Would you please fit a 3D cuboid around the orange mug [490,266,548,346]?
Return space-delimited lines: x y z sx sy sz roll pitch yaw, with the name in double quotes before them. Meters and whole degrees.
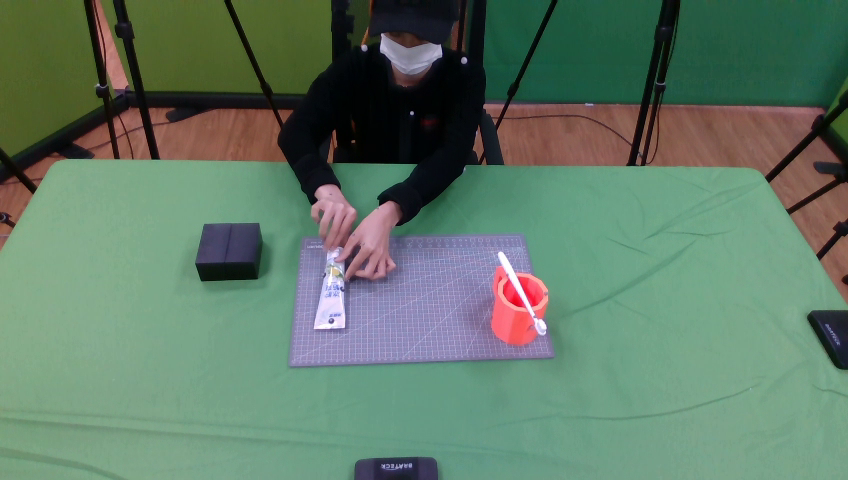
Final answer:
"orange mug" 0.155 0.107 1.051 0.083 0.101 0.125 -15 53 -18

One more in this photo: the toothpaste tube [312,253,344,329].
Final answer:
"toothpaste tube" -0.168 0.089 1.092 0.055 0.035 0.164 -6 49 3

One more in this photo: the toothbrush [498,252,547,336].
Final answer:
"toothbrush" 0.160 0.083 1.001 0.014 0.017 0.180 -14 48 -12

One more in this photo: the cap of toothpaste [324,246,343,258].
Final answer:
"cap of toothpaste" -0.170 0.027 1.145 0.037 0.037 0.011 -9 42 -13
